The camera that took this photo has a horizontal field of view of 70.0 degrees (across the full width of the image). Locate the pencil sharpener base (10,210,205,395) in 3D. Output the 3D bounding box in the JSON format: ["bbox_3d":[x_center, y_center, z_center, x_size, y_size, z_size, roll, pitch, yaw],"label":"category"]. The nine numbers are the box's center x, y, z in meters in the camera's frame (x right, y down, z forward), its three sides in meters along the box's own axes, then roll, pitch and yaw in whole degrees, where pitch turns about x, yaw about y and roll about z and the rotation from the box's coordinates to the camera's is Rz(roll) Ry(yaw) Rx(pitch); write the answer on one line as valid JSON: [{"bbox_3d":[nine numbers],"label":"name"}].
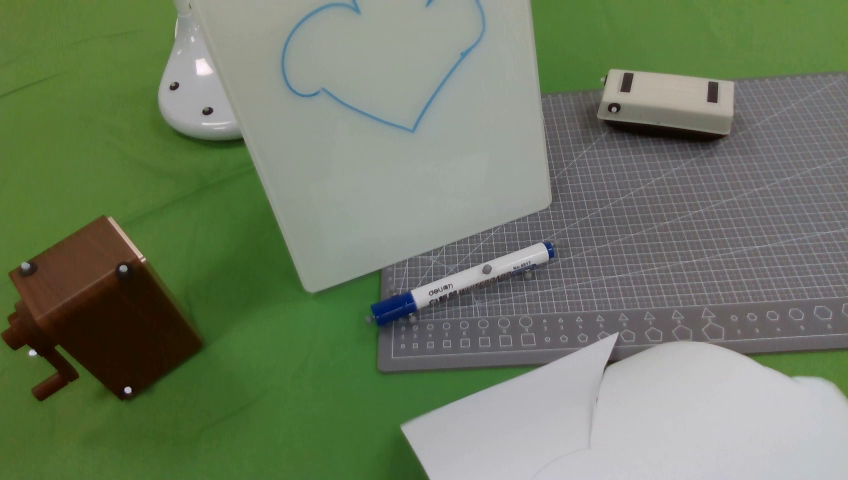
[{"bbox_3d":[-0.212,0.047,0.414,0.076,0.108,0.061,-38,57,-22],"label":"pencil sharpener base"}]

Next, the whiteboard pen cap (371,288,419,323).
[{"bbox_3d":[-0.021,0.048,0.445,0.033,0.018,0.018,-21,52,-9],"label":"whiteboard pen cap"}]

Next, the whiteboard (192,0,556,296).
[{"bbox_3d":[-0.041,-0.150,0.465,0.217,0.308,0.142,-20,32,-9],"label":"whiteboard"}]

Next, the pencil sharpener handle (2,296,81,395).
[{"bbox_3d":[-0.248,0.069,0.383,0.030,0.068,0.035,-38,44,-22],"label":"pencil sharpener handle"}]

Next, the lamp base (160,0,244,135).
[{"bbox_3d":[-0.212,-0.220,0.582,0.177,0.182,0.160,31,60,30],"label":"lamp base"}]

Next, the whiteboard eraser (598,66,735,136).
[{"bbox_3d":[0.218,-0.125,0.547,0.112,0.042,0.055,11,54,15],"label":"whiteboard eraser"}]

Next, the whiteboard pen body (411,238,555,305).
[{"bbox_3d":[0.033,0.027,0.454,0.141,0.017,0.017,-20,52,-9],"label":"whiteboard pen body"}]
